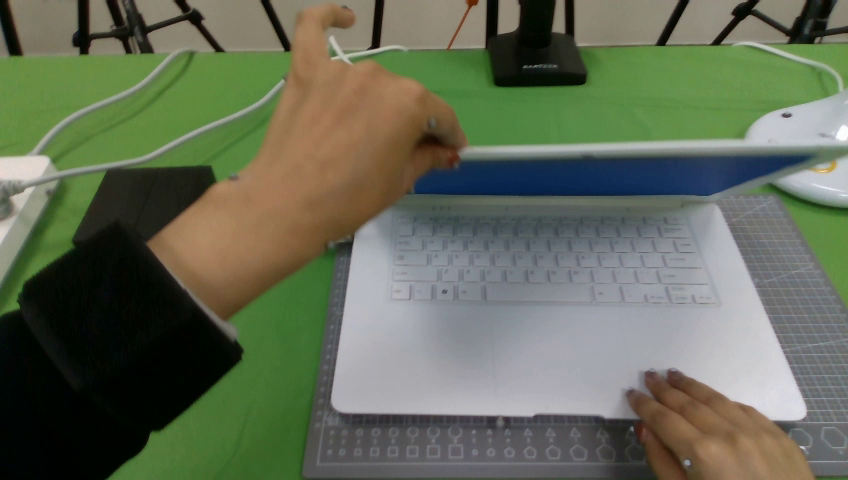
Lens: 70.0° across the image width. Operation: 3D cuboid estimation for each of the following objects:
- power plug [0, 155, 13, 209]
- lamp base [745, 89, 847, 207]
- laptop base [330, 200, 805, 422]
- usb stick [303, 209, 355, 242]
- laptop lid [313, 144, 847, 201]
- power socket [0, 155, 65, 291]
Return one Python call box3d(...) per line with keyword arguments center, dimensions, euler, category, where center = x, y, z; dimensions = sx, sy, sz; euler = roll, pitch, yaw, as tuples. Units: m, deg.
box3d(center=(-0.407, -0.056, 0.555), dimensions=(0.053, 0.073, 0.035), euler=(12, 27, -21), category="power plug")
box3d(center=(0.439, -0.153, 0.609), dimensions=(0.159, 0.182, 0.179), euler=(26, 49, 24), category="lamp base")
box3d(center=(0.108, 0.050, 0.526), dimensions=(0.354, 0.023, 0.233), euler=(1, 49, 1), category="laptop base")
box3d(center=(-0.083, -0.013, 0.573), dimensions=(0.059, 0.027, 0.021), euler=(0, 43, -1), category="usb stick")
box3d(center=(0.108, -0.049, 0.486), dimensions=(0.356, 0.242, 0.013), euler=(0, 87, 3), category="laptop lid")
box3d(center=(-0.417, -0.008, 0.577), dimensions=(0.072, 0.033, 0.224), euler=(-1, 45, -2), category="power socket")
